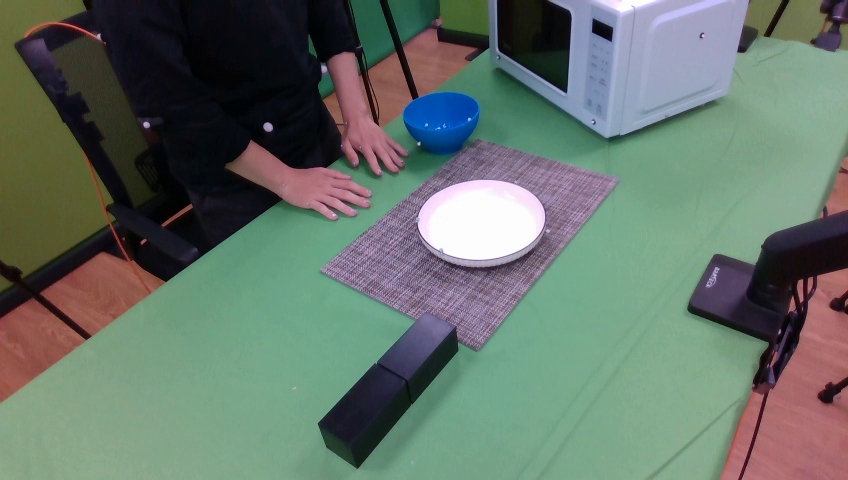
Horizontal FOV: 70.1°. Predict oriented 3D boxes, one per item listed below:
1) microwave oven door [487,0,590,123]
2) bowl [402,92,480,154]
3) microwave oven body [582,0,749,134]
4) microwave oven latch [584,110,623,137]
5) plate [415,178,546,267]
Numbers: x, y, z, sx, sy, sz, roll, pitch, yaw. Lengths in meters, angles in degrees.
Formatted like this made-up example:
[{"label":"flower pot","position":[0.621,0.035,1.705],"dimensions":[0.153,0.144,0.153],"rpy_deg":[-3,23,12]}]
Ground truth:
[{"label":"microwave oven door","position":[0.232,-0.420,1.230],"dimensions":[0.039,0.245,0.352],"rpy_deg":[-22,43,-16]},{"label":"bowl","position":[0.036,-0.220,1.180],"dimensions":[0.151,0.077,0.150],"rpy_deg":[-4,40,4]},{"label":"microwave oven body","position":[0.382,-0.444,1.246],"dimensions":[0.327,0.261,0.437],"rpy_deg":[-22,42,-16]},{"label":"microwave oven latch","position":[0.337,-0.222,1.142],"dimensions":[0.030,0.029,0.078],"rpy_deg":[-21,42,-15]},{"label":"plate","position":[0.091,-0.026,0.970],"dimensions":[0.207,0.039,0.206],"rpy_deg":[-4,41,4]}]
